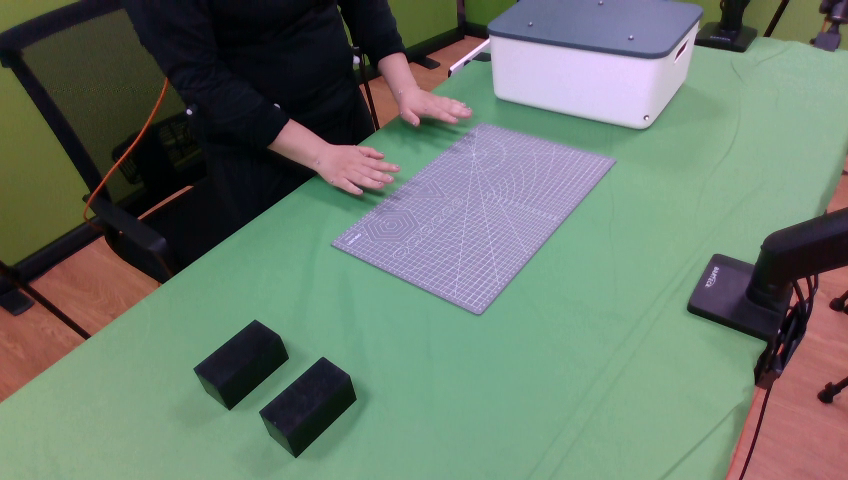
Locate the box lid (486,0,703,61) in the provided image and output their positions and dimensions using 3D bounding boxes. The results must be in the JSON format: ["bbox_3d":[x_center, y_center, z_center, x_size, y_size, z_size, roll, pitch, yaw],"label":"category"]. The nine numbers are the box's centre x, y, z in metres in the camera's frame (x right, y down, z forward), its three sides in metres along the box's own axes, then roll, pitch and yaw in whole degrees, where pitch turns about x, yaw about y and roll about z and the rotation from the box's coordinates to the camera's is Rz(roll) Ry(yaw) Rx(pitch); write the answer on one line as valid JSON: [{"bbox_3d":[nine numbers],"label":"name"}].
[{"bbox_3d":[0.338,-0.435,1.208,0.369,0.015,0.264,20,47,29],"label":"box lid"}]

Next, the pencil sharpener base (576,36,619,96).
[{"bbox_3d":[0.362,-0.367,1.272,0.076,0.107,0.061,17,47,29],"label":"pencil sharpener base"}]

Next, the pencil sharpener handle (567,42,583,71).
[{"bbox_3d":[0.319,-0.391,1.290,0.030,0.068,0.036,17,56,29],"label":"pencil sharpener handle"}]

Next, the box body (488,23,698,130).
[{"bbox_3d":[0.345,-0.379,1.257,0.361,0.161,0.255,20,48,29],"label":"box body"}]
